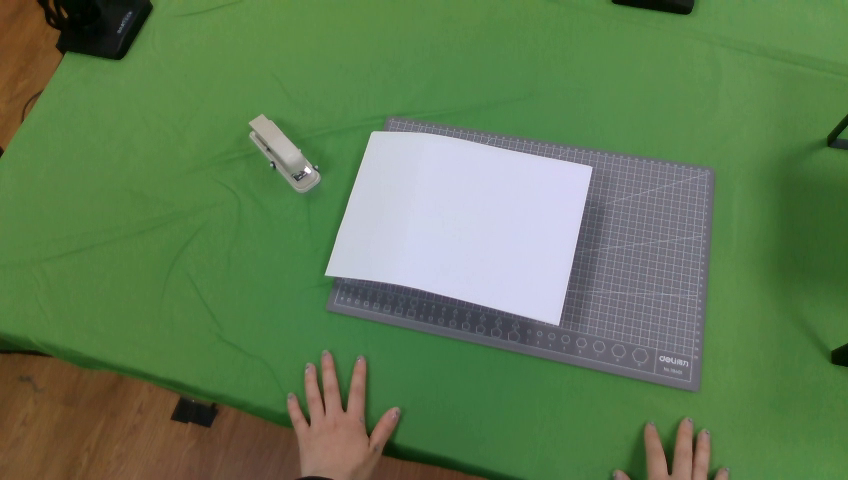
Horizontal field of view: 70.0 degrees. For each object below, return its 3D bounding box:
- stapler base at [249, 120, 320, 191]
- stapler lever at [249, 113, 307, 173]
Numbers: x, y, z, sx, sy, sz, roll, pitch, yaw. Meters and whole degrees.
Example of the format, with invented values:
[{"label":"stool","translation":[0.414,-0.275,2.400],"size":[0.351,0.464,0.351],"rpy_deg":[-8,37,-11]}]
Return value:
[{"label":"stapler base","translation":[-0.196,-0.123,0.842],"size":[0.041,0.024,0.129],"rpy_deg":[-38,68,-15]},{"label":"stapler lever","translation":[-0.199,-0.135,0.819],"size":[0.027,0.040,0.117],"rpy_deg":[-38,68,-15]}]
